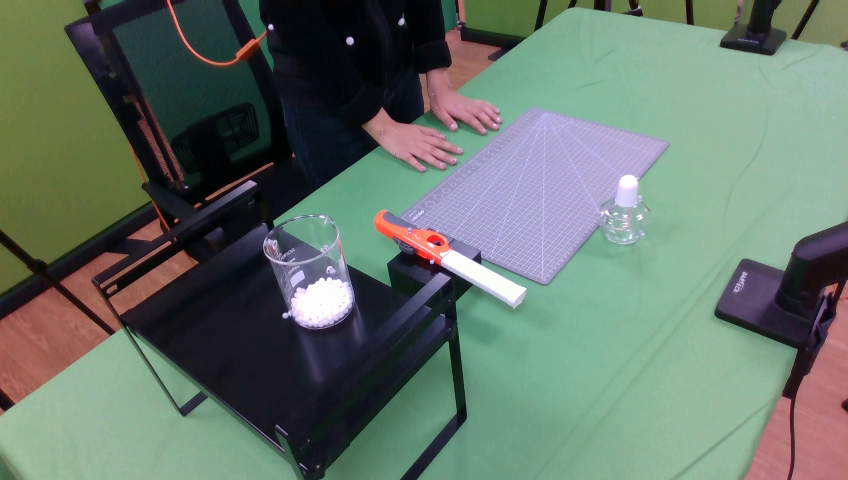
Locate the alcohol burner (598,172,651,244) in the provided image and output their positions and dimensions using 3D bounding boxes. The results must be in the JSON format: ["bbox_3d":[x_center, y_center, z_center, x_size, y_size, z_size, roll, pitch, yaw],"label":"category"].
[{"bbox_3d":[0.307,-0.052,0.920,0.078,0.119,0.077,-6,42,6],"label":"alcohol burner"}]

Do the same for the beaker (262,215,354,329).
[{"bbox_3d":[-0.112,0.034,0.616,0.073,0.101,0.084,13,44,23],"label":"beaker"}]

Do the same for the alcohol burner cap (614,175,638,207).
[{"bbox_3d":[0.303,-0.076,0.901,0.034,0.048,0.033,-5,43,5],"label":"alcohol burner cap"}]

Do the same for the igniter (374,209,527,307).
[{"bbox_3d":[0.026,0.019,0.873,0.274,0.025,0.057,29,52,31],"label":"igniter"}]
